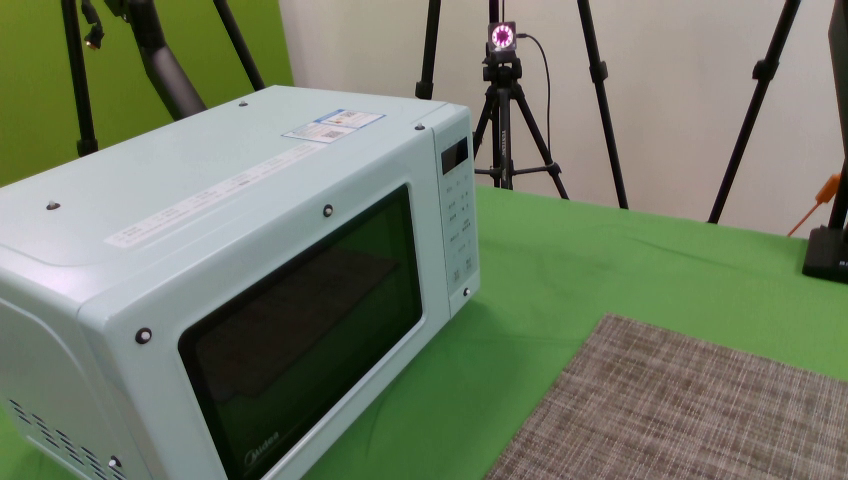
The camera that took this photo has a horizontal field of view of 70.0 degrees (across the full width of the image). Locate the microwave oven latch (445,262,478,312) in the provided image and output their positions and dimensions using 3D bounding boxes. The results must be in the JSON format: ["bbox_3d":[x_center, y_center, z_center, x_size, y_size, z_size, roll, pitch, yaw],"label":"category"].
[{"bbox_3d":[0.038,0.055,0.741,0.030,0.030,0.079,14,36,31],"label":"microwave oven latch"}]

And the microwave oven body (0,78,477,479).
[{"bbox_3d":[-0.191,0.024,0.642,0.323,0.262,0.441,14,36,30],"label":"microwave oven body"}]

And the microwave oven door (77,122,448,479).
[{"bbox_3d":[-0.092,0.066,0.536,0.039,0.246,0.355,13,34,31],"label":"microwave oven door"}]

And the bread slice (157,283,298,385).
[{"bbox_3d":[-0.203,0.089,0.643,0.104,0.019,0.131,21,42,38],"label":"bread slice"}]

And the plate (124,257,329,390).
[{"bbox_3d":[-0.201,0.086,0.638,0.209,0.038,0.207,-5,29,3],"label":"plate"}]
